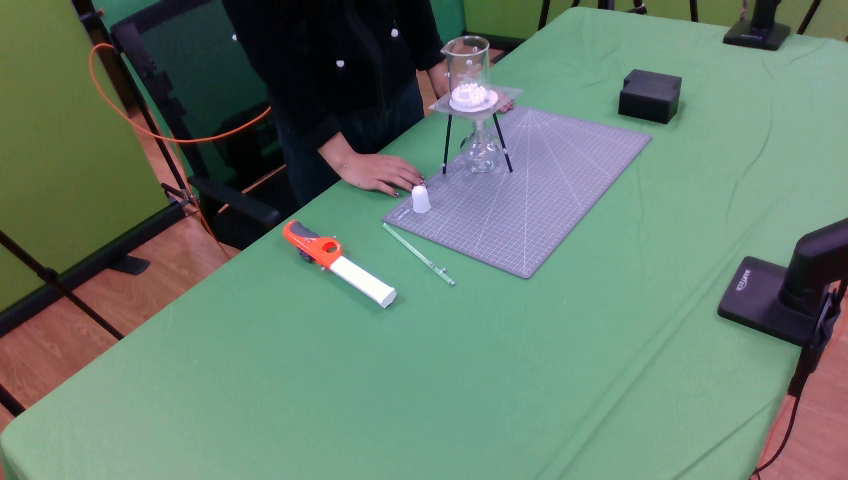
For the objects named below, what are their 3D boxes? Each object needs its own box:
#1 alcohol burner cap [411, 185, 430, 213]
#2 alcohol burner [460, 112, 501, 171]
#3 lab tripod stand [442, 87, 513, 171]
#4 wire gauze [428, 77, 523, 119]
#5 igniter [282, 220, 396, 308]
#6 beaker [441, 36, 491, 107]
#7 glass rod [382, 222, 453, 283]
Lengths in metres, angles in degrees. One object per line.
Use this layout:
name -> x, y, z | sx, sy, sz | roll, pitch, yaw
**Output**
alcohol burner cap -> -0.008, -0.074, 1.050 | 0.034, 0.048, 0.033 | -4, 40, 4
alcohol burner -> 0.103, -0.186, 1.106 | 0.078, 0.119, 0.077 | -4, 42, 4
lab tripod stand -> 0.097, -0.200, 1.108 | 0.148, 0.132, 0.147 | -4, 40, 4
wire gauze -> 0.090, -0.248, 1.063 | 0.120, 0.011, 0.125 | 24, 48, 30
igniter -> -0.146, 0.032, 0.966 | 0.274, 0.025, 0.057 | 30, 65, 37
beaker -> 0.074, -0.286, 1.036 | 0.084, 0.101, 0.073 | -1, 41, 8
glass rod -> -0.014, 0.016, 0.976 | 0.008, 0.008, 0.198 | -30, 44, -22
